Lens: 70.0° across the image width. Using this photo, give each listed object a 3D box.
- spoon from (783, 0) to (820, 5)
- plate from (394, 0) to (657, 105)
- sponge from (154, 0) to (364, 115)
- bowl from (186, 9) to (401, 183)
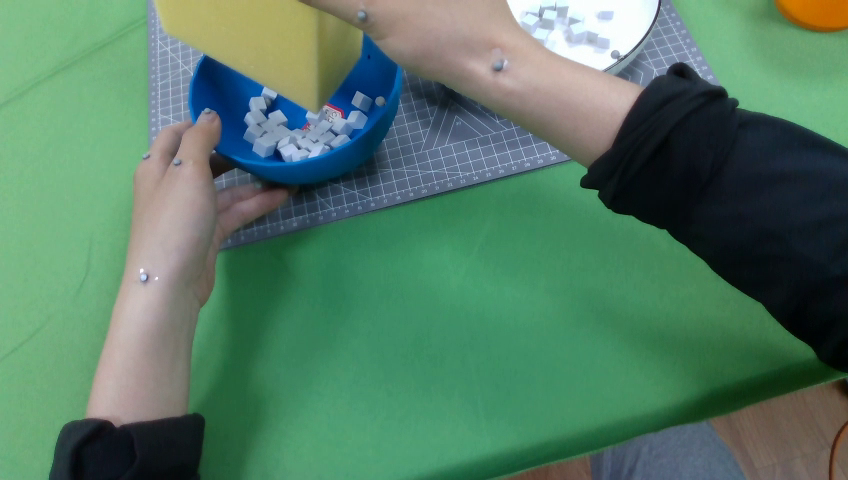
[{"bbox_3d":[0.349,-0.243,0.429,0.022,0.194,0.041,2,59,-42],"label":"spoon"},{"bbox_3d":[0.080,-0.191,0.498,0.209,0.038,0.207,-3,64,6],"label":"plate"},{"bbox_3d":[-0.093,-0.173,0.322,0.118,0.208,0.060,27,64,3],"label":"sponge"},{"bbox_3d":[-0.086,-0.097,0.450,0.151,0.077,0.150,-3,64,6],"label":"bowl"}]
